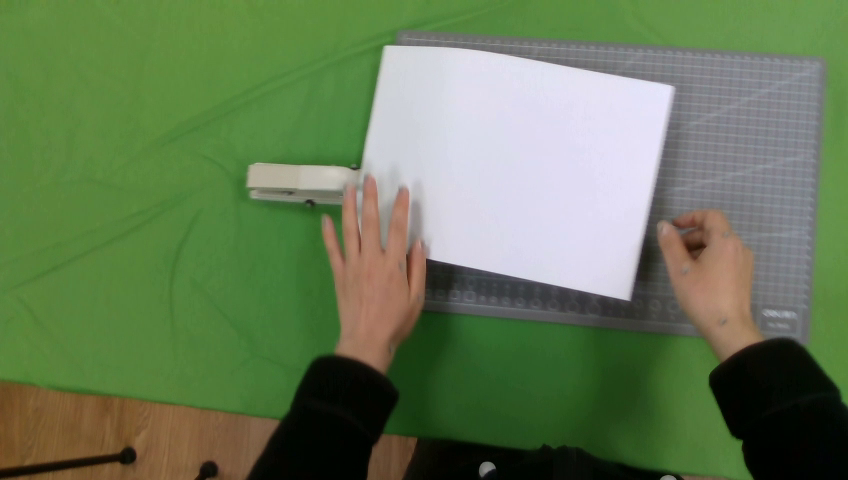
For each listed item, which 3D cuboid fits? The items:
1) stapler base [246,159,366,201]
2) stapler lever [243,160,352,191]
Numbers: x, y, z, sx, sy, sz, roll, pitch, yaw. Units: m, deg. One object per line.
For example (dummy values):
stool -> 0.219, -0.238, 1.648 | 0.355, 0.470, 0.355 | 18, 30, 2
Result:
stapler base -> -0.128, -0.066, 0.646 | 0.130, 0.024, 0.041 | 4, 85, 5
stapler lever -> -0.132, -0.067, 0.622 | 0.118, 0.040, 0.027 | 4, 84, 4
